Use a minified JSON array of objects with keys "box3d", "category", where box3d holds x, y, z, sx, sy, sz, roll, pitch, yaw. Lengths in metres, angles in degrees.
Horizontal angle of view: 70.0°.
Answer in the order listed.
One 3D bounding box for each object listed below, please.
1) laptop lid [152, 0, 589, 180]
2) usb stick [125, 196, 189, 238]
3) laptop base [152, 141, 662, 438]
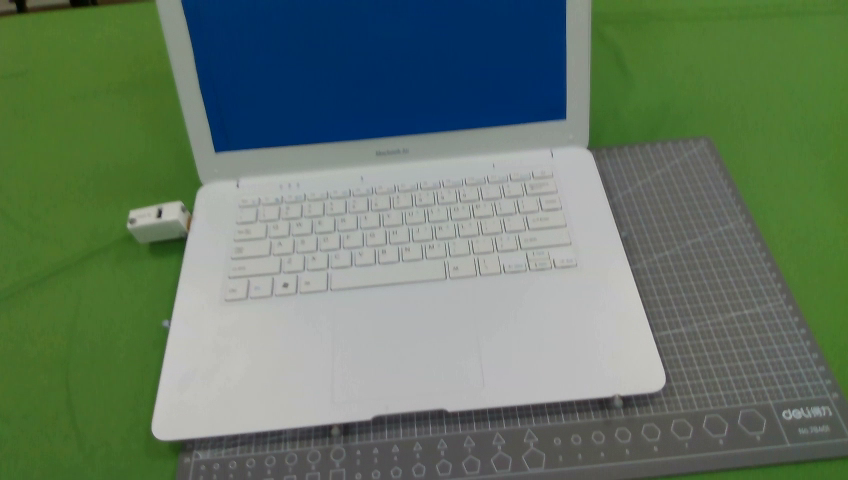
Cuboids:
[{"box3d":[-0.039,-0.174,0.502,0.357,0.243,0.013,-7,24,0],"category":"laptop lid"},{"box3d":[-0.218,-0.020,0.514,0.059,0.027,0.021,-8,53,0],"category":"usb stick"},{"box3d":[-0.020,0.026,0.481,0.354,0.023,0.233,-6,56,0],"category":"laptop base"}]
